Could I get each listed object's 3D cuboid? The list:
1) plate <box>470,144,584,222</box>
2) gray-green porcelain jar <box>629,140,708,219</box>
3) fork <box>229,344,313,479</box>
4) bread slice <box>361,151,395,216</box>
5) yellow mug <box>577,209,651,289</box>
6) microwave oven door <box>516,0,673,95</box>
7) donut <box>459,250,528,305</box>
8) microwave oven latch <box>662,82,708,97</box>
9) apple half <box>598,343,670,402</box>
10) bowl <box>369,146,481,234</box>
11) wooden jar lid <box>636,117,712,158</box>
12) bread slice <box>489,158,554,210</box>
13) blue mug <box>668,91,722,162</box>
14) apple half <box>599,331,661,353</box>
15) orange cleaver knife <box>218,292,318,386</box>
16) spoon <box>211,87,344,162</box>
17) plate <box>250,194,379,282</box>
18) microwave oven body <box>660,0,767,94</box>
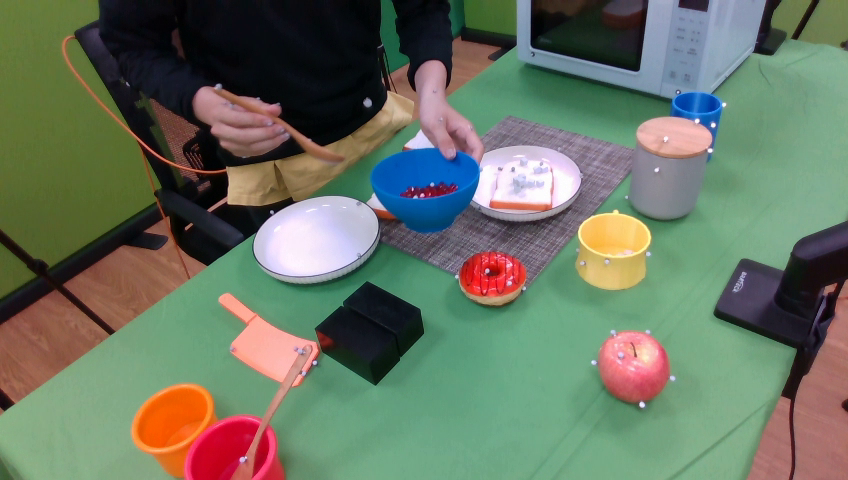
[{"bbox_3d":[0.167,-0.095,1.040,0.207,0.039,0.206,-4,40,4],"label":"plate"},{"bbox_3d":[0.383,-0.105,0.958,0.106,0.127,0.105,-4,41,4],"label":"gray-green porcelain jar"},{"bbox_3d":[-0.173,0.205,0.662,0.028,0.019,0.207,29,94,35],"label":"fork"},{"bbox_3d":[-0.050,-0.100,1.052,0.106,0.018,0.134,19,59,24],"label":"bread slice"},{"bbox_3d":[0.279,0.005,0.893,0.099,0.064,0.130,5,41,15],"label":"yellow mug"},{"bbox_3d":[0.344,-0.458,1.256,0.353,0.245,0.039,26,51,33],"label":"microwave oven door"},{"bbox_3d":[0.100,0.053,0.873,0.099,0.048,0.098,-4,40,4],"label":"donut"},{"bbox_3d":[0.518,-0.298,1.203,0.078,0.029,0.030,28,53,35],"label":"microwave oven latch"},{"bbox_3d":[0.247,0.161,0.710,0.081,0.075,0.053,1,47,5],"label":"apple half"},{"bbox_3d":[0.004,-0.061,0.827,0.151,0.077,0.150,-3,34,2],"label":"bowl"},{"bbox_3d":[0.377,-0.151,0.917,0.108,0.021,0.108,-2,41,3],"label":"wooden jar lid"},{"bbox_3d":[0.173,-0.100,1.047,0.104,0.019,0.131,4,43,12],"label":"bread slice"},{"bbox_3d":[0.474,-0.207,1.079,0.082,0.106,0.116,4,42,13],"label":"blue mug"},{"bbox_3d":[0.249,0.134,0.738,0.081,0.081,0.032,-1,46,7],"label":"apple half"},{"bbox_3d":[-0.235,0.136,0.850,0.209,0.012,0.077,25,57,30],"label":"orange cleaver knife"},{"bbox_3d":[-0.186,-0.147,0.785,0.041,0.195,0.021,-3,62,51],"label":"spoon"},{"bbox_3d":[-0.174,0.000,0.984,0.209,0.038,0.208,-3,40,3],"label":"plate"},{"bbox_3d":[0.474,-0.517,1.314,0.438,0.261,0.327,26,51,34],"label":"microwave oven body"}]
